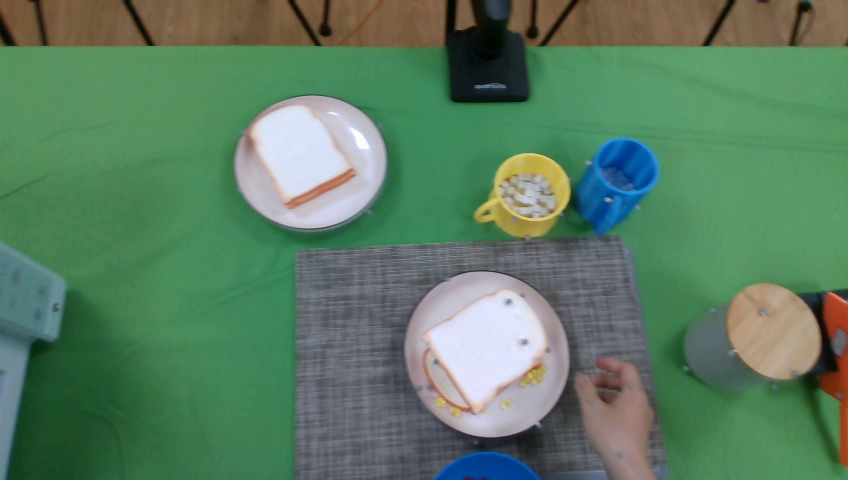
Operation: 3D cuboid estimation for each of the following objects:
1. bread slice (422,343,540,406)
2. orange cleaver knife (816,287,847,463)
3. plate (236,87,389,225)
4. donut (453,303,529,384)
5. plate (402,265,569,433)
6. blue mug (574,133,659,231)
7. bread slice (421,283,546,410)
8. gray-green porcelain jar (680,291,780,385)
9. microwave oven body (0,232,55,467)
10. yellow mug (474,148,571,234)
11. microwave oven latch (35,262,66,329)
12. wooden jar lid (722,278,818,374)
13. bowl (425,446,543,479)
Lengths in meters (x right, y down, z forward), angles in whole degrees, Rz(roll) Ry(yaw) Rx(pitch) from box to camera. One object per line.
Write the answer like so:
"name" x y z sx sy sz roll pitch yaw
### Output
"bread slice" 0.066 0.144 0.760 0.131 0.019 0.104 -33 74 -15
"orange cleaver knife" 0.512 0.166 0.750 0.012 0.077 0.211 -3 97 -3
"plate" -0.153 -0.114 0.842 0.208 0.039 0.206 1 70 -2
"donut" 0.083 0.125 0.735 0.099 0.048 0.098 8 67 -19
"plate" 0.076 0.135 0.761 0.209 0.038 0.207 1 71 -2
"blue mug" 0.251 -0.067 0.809 0.082 0.106 0.116 18 71 4
"bread slice" 0.075 0.113 0.706 0.134 0.018 0.106 -35 82 -21
"gray-green porcelain jar" 0.383 0.119 0.738 0.106 0.127 0.105 1 70 -2
"microwave oven body" -0.606 0.201 0.587 0.326 0.261 0.438 0 71 -3
"yellow mug" 0.128 -0.060 0.821 0.131 0.064 0.099 -22 72 -9
"microwave oven latch" -0.464 0.068 0.743 0.030 0.029 0.078 2 71 -2
"wooden jar lid" 0.385 0.097 0.679 0.108 0.021 0.107 1 73 -4
"bowl" 0.065 0.310 0.682 0.151 0.077 0.150 1 71 -2
